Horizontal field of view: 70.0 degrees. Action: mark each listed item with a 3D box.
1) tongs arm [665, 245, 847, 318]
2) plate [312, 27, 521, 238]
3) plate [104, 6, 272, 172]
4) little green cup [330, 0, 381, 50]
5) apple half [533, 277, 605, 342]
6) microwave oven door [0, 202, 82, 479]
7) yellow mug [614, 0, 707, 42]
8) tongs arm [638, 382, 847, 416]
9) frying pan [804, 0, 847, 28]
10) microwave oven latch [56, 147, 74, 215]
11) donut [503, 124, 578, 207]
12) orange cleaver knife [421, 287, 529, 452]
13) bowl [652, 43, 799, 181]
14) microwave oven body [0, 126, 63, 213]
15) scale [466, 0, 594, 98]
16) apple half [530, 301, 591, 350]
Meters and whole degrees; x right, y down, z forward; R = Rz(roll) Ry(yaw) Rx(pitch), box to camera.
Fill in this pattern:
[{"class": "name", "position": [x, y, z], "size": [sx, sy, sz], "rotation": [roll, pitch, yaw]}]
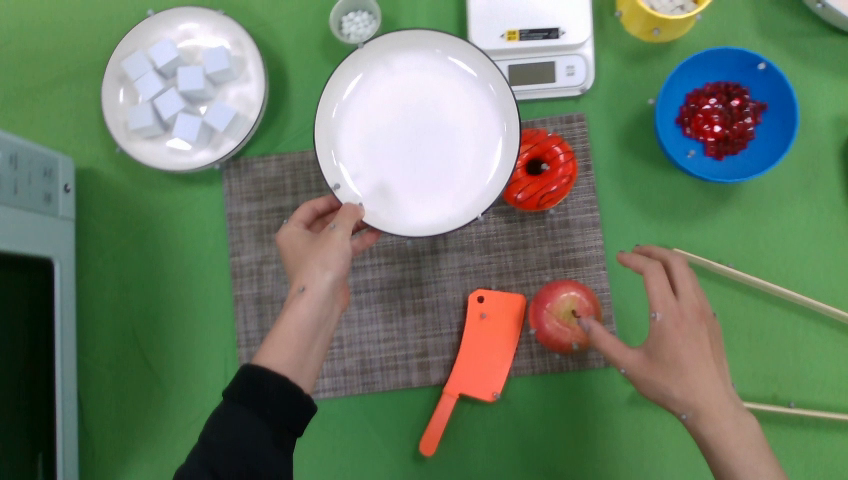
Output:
[{"class": "tongs arm", "position": [0.458, 0.085, 0.680], "size": [0.387, 0.028, 0.028], "rotation": [23, 78, 6]}, {"class": "plate", "position": [-0.007, -0.106, 0.613], "size": [0.209, 0.038, 0.209], "rotation": [0, 91, 4]}, {"class": "plate", "position": [-0.288, -0.184, 0.753], "size": [0.207, 0.039, 0.207], "rotation": [0, 85, 4]}, {"class": "little green cup", "position": [-0.082, -0.264, 0.745], "size": [0.061, 0.039, 0.061], "rotation": [0, 84, 5]}, {"class": "apple half", "position": [0.167, 0.070, 0.675], "size": [0.080, 0.075, 0.053], "rotation": [35, 84, 11]}, {"class": "microwave oven door", "position": [-0.439, 0.136, 0.613], "size": [0.039, 0.244, 0.355], "rotation": [-5, 84, 4]}, {"class": "yellow mug", "position": [0.270, -0.305, 0.709], "size": [0.100, 0.064, 0.130], "rotation": [-39, 82, 0]}, {"class": "tongs arm", "position": [0.437, 0.168, 0.669], "size": [0.384, 0.026, 0.050], "rotation": [8, 80, 5]}, {"class": "frying pan", "position": [0.598, -0.282, 0.664], "size": [0.307, 0.103, 0.485], "rotation": [-34, 75, 2]}, {"class": "microwave oven latch", "position": [-0.444, -0.071, 0.734], "size": [0.030, 0.029, 0.079], "rotation": [-2, 85, 3]}, {"class": "donut", "position": [0.129, -0.087, 0.707], "size": [0.099, 0.048, 0.099], "rotation": [-1, 86, 7]}, {"class": "orange cleaver knife", "position": [0.060, 0.150, 0.701], "size": [0.077, 0.012, 0.211], "rotation": [22, 84, 0]}, {"class": "bowl", "position": [0.326, -0.134, 0.684], "size": [0.151, 0.077, 0.151], "rotation": [0, 85, 4]}, {"class": "microwave oven body", "position": [-0.586, 0.106, 0.631], "size": [0.326, 0.261, 0.440], "rotation": [-5, 85, 3]}, {"class": "scale", "position": [0.126, -0.274, 0.734], "size": [0.148, 0.031, 0.200], "rotation": [-3, 85, 4]}, {"class": "apple half", "position": [0.144, 0.101, 0.672], "size": [0.081, 0.081, 0.033], "rotation": [36, 84, 7]}]
